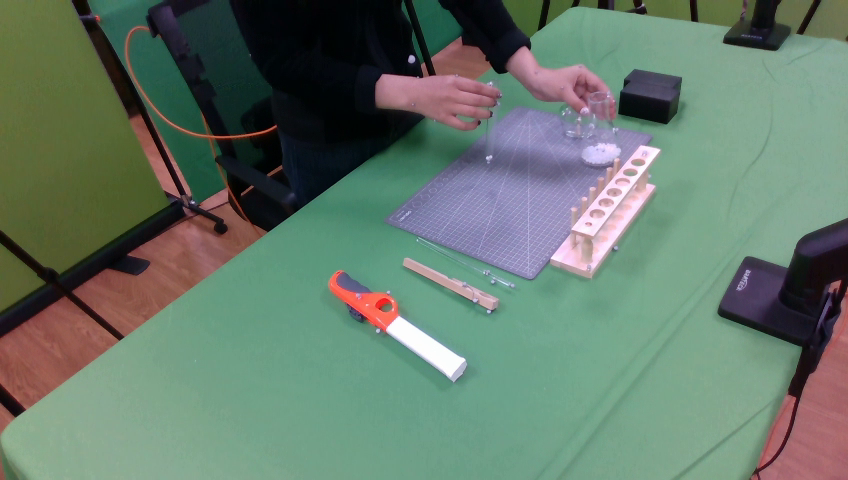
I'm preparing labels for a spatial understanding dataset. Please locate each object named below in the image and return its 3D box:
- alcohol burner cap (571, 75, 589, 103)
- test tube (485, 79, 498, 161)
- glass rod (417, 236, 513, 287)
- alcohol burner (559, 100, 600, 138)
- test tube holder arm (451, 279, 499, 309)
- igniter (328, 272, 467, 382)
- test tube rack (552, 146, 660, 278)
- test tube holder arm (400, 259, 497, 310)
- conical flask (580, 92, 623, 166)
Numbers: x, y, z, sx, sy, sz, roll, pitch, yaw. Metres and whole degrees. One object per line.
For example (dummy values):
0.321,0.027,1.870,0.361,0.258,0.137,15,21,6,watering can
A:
0.294,-0.284,1.131,0.034,0.048,0.033,-5,45,5,alcohol burner cap
0.115,-0.200,1.024,0.017,0.151,0.017,-1,39,1,test tube
0.059,0.032,0.944,0.198,0.008,0.008,27,52,38,glass rod
0.298,-0.258,1.156,0.078,0.119,0.077,-4,39,4,alcohol burner
0.071,0.079,0.882,0.087,0.015,0.010,23,14,34,test tube holder arm
-0.048,0.114,0.854,0.274,0.025,0.057,29,63,37,igniter
0.286,-0.053,0.943,0.066,0.085,0.243,21,49,32,test tube rack
0.033,0.064,0.902,0.177,0.015,0.013,23,13,32,test tube holder arm
0.307,-0.196,1.058,0.075,0.122,0.075,-10,41,9,conical flask
